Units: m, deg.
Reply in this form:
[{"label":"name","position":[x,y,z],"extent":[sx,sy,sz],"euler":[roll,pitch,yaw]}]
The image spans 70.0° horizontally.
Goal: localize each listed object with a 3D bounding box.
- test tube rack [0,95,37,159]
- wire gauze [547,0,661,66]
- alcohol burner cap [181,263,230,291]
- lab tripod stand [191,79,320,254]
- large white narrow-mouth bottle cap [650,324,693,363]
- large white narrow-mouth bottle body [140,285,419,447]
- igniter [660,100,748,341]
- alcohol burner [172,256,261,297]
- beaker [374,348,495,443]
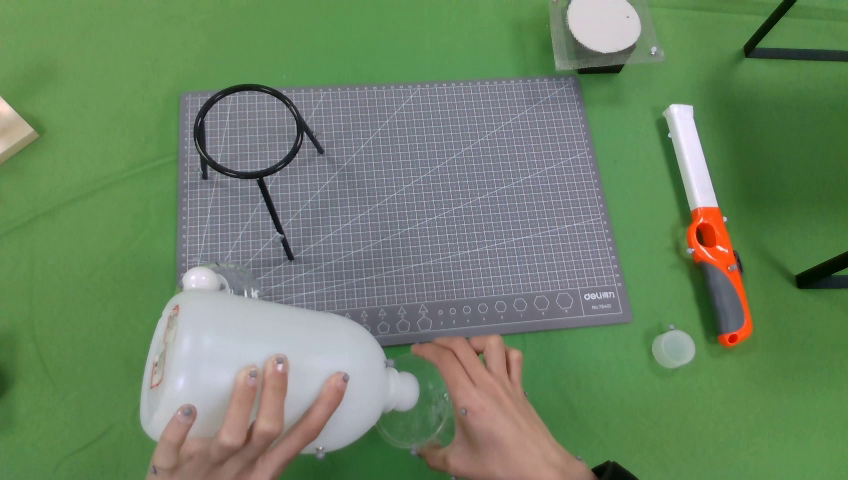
[{"label":"test tube rack","position":[-0.504,-0.067,0.560],"extent":[0.066,0.085,0.242],"euler":[42,72,9]},{"label":"wire gauze","position":[0.197,-0.252,0.683],"extent":[0.122,0.011,0.124],"euler":[-3,72,-6]},{"label":"alcohol burner cap","position":[-0.183,0.035,0.500],"extent":[0.034,0.048,0.033],"euler":[1,76,-5]},{"label":"lab tripod stand","position":[-0.152,-0.072,0.568],"extent":[0.149,0.132,0.147],"euler":[2,71,-7]},{"label":"large white narrow-mouth bottle cap","position":[0.249,0.105,0.611],"extent":[0.038,0.024,0.037],"euler":[2,70,-4]},{"label":"large white narrow-mouth bottle body","position":[-0.091,0.098,0.440],"extent":[0.196,0.101,0.101],"euler":[16,67,-31]},{"label":"igniter","position":[0.302,-0.028,0.657],"extent":[0.057,0.025,0.274],"euler":[0,71,-17]},{"label":"alcohol burner","position":[-0.186,0.046,0.534],"extent":[0.078,0.119,0.077],"euler":[3,69,-6]},{"label":"beaker","position":[0.009,0.138,0.526],"extent":[0.083,0.101,0.073],"euler":[2,74,33]}]
